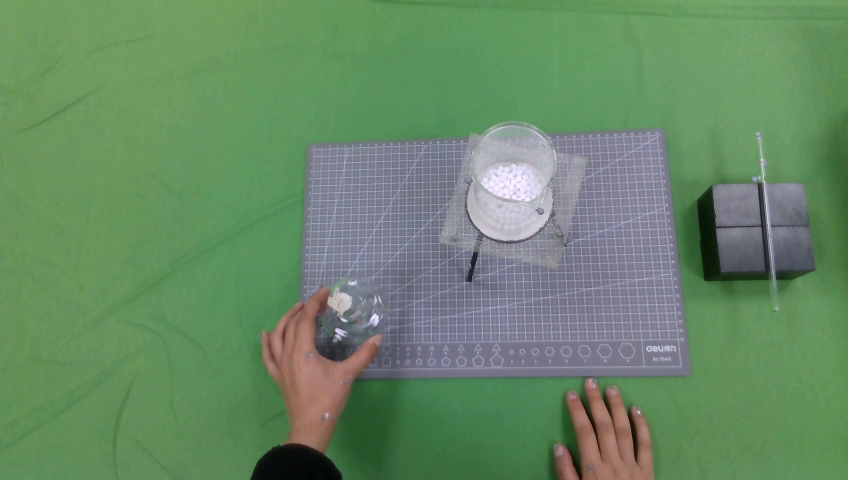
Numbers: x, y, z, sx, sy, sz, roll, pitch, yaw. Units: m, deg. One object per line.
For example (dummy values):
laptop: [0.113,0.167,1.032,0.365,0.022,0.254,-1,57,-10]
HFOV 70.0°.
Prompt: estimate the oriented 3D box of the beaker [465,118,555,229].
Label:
beaker: [0.080,-0.053,0.557,0.074,0.101,0.083,-29,75,-2]

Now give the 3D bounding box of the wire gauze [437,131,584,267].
wire gauze: [0.087,-0.042,0.604,0.121,0.011,0.124,15,75,8]

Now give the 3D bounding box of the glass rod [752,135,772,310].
glass rod: [0.370,-0.022,0.663,0.008,0.008,0.198,2,77,5]

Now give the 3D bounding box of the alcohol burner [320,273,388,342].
alcohol burner: [-0.080,0.072,0.667,0.078,0.119,0.077,-1,77,4]

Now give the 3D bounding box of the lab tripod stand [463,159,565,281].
lab tripod stand: [0.087,-0.027,0.668,0.148,0.132,0.147,-2,75,7]
